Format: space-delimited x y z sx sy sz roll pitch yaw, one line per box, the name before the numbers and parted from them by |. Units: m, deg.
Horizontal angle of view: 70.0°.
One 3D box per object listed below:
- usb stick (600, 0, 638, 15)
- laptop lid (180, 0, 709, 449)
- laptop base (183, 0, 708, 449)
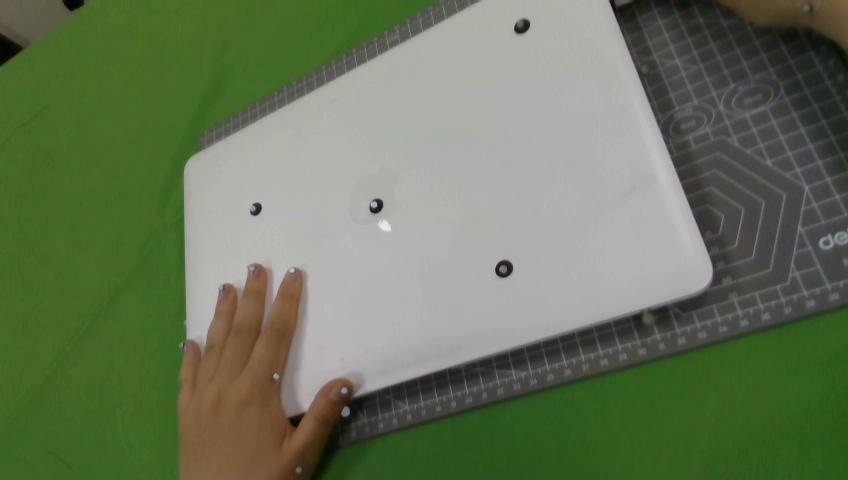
usb stick | 0.121 -0.158 0.369 0.059 0.027 0.021 -24 56 27
laptop lid | -0.032 -0.018 0.401 0.356 0.013 0.239 -21 65 21
laptop base | -0.027 -0.016 0.412 0.354 0.023 0.233 -22 65 20
